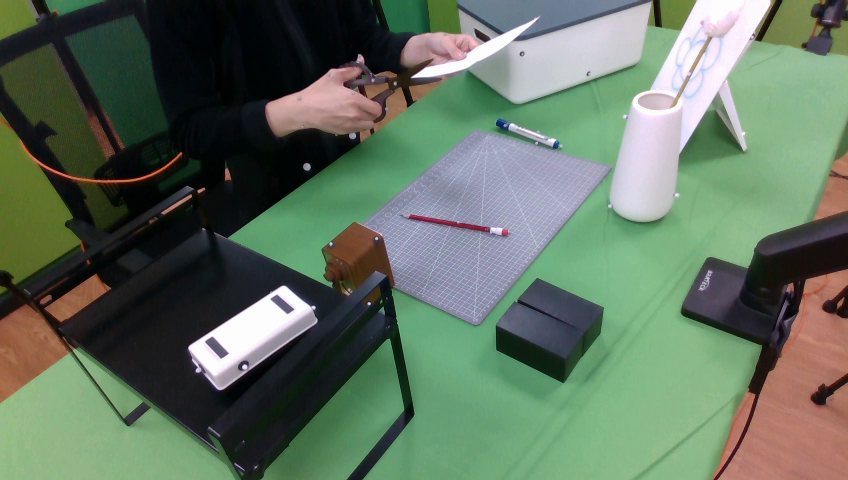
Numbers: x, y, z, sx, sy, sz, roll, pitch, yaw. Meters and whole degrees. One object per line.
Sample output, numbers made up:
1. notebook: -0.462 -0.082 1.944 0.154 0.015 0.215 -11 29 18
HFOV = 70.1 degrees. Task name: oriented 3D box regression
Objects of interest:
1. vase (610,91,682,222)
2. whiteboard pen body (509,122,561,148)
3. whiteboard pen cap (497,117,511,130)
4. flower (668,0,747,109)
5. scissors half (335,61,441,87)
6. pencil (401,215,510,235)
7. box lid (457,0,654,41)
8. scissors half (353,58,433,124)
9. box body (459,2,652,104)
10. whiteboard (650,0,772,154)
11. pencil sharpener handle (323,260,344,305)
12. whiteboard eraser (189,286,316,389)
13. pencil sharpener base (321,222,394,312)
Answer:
1. vase: 0.348 -0.125 0.935 0.098 0.201 0.097 -3 40 3
2. whiteboard pen body: 0.209 -0.211 1.195 0.139 0.017 0.017 30 52 33
3. whiteboard pen cap: 0.165 -0.235 1.226 0.033 0.018 0.018 32 54 30
4. flower: 0.354 -0.187 0.879 0.038 0.362 0.044 30 48 14
5. scissors half: -0.056 -0.244 0.899 0.174 0.040 0.013 9 42 21
6. pencil: 0.049 -0.027 1.007 0.193 0.012 0.012 10 43 21
7. box lid: 0.285 -0.522 1.323 0.373 0.015 0.261 -22 43 -16
8. scissors half: -0.046 -0.224 0.910 0.174 0.040 0.013 -32 16 41
9. box body: 0.291 -0.465 1.371 0.365 0.161 0.252 -22 42 -16
10. whiteboard: 0.543 -0.298 1.076 0.144 0.305 0.216 12 40 -7
11. pencil sharpener handle: -0.131 0.062 0.839 0.035 0.068 0.031 29 55 28
12. whiteboard eraser: -0.166 0.096 0.593 0.113 0.042 0.055 -36 47 -29
13. pencil sharpener base: -0.096 0.041 0.873 0.061 0.107 0.077 25 54 32
